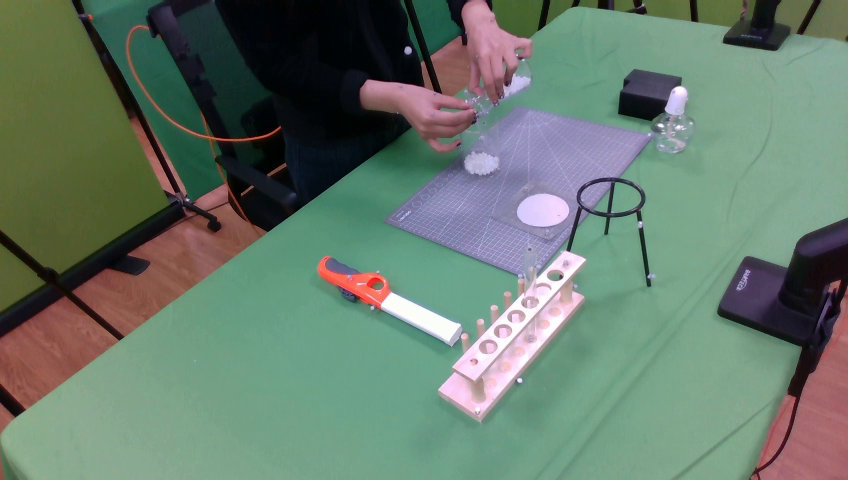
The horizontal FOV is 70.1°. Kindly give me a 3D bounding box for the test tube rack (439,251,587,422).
[{"bbox_3d":[0.118,0.111,0.780,0.066,0.085,0.243,26,51,34],"label":"test tube rack"}]

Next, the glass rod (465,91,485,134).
[{"bbox_3d":[0.089,-0.214,1.030,0.008,0.200,0.008,-2,82,13],"label":"glass rod"}]

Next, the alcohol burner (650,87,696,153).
[{"bbox_3d":[0.448,-0.217,1.084,0.078,0.119,0.077,-6,38,5],"label":"alcohol burner"}]

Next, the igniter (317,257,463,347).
[{"bbox_3d":[-0.061,0.085,0.891,0.274,0.025,0.057,23,59,33],"label":"igniter"}]

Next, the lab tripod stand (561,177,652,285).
[{"bbox_3d":[0.263,-0.014,0.864,0.148,0.132,0.147,-7,38,6],"label":"lab tripod stand"}]

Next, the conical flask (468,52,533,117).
[{"bbox_3d":[0.129,-0.266,1.061,0.074,0.076,0.122,30,66,37],"label":"conical flask"}]

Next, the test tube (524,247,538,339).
[{"bbox_3d":[0.133,0.070,0.749,0.017,0.151,0.017,-5,38,4],"label":"test tube"}]

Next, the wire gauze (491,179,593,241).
[{"bbox_3d":[0.198,-0.051,1.014,0.125,0.011,0.120,-38,48,-27],"label":"wire gauze"}]

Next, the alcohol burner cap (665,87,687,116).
[{"bbox_3d":[0.445,-0.244,1.060,0.034,0.048,0.033,-2,45,3],"label":"alcohol burner cap"}]

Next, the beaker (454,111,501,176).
[{"bbox_3d":[0.101,-0.173,1.106,0.084,0.101,0.073,-5,40,6],"label":"beaker"}]
